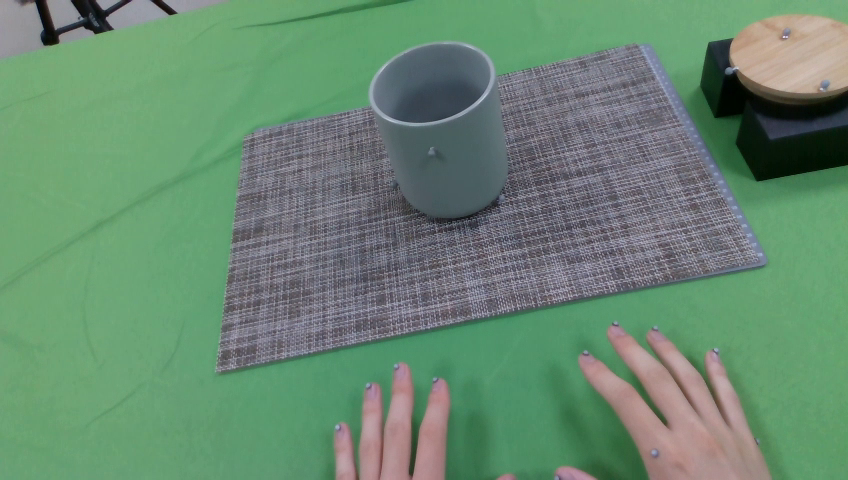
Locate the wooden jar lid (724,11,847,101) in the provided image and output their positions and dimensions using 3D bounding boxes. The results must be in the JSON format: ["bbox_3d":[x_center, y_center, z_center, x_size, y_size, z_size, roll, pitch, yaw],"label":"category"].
[{"bbox_3d":[0.315,-0.157,0.519,0.108,0.021,0.107,-7,54,9],"label":"wooden jar lid"}]

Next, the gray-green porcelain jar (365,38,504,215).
[{"bbox_3d":[0.015,-0.092,0.534,0.106,0.128,0.105,-7,52,9],"label":"gray-green porcelain jar"}]
